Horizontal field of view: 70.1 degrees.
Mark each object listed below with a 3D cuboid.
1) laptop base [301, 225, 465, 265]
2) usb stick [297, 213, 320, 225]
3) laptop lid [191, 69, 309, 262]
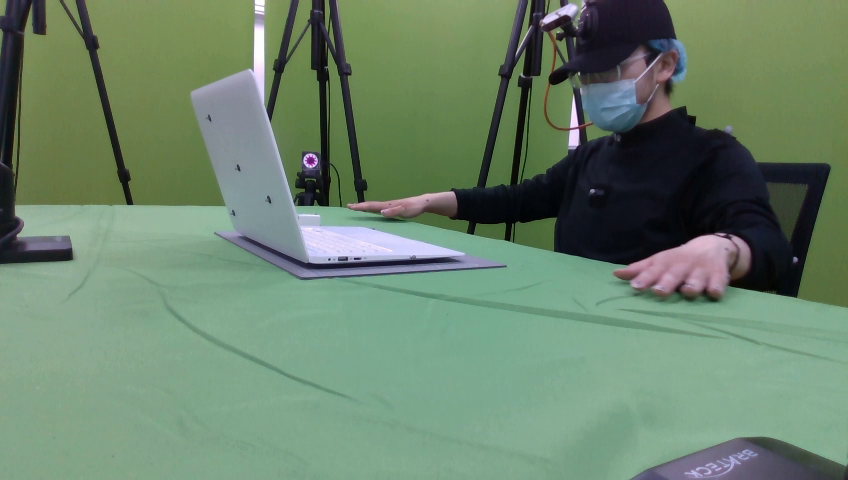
[{"bbox_3d":[-0.128,0.005,0.937,0.237,0.023,0.352,2,7,-32],"label":"laptop base"},{"bbox_3d":[-0.242,-0.040,1.221,0.059,0.027,0.021,-5,11,-28],"label":"usb stick"},{"bbox_3d":[-0.254,-0.103,0.842,0.013,0.242,0.355,-22,20,-27],"label":"laptop lid"}]
